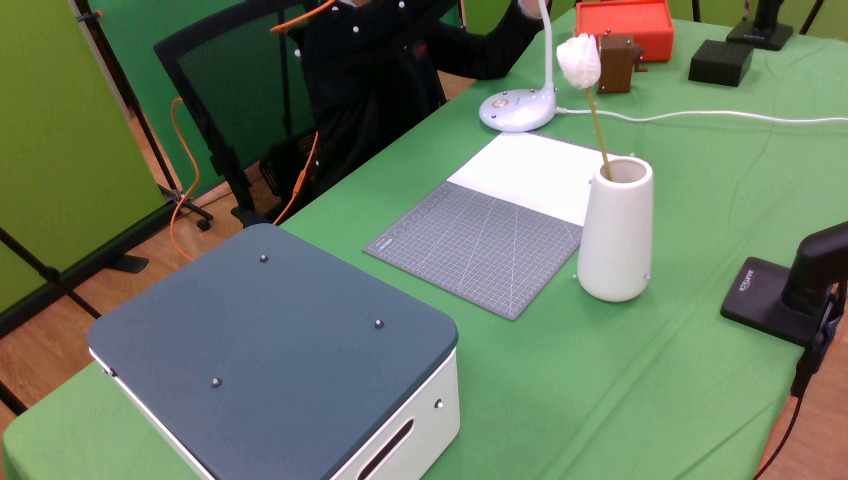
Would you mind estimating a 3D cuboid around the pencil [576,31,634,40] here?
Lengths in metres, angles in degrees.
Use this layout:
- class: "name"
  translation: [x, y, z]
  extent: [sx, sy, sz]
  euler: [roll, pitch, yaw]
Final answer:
- class: "pencil"
  translation: [0.430, -0.488, 1.444]
  extent: [0.012, 0.012, 0.192]
  euler: [-25, 30, -18]

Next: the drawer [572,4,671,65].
- class: "drawer"
  translation: [0.461, -0.490, 1.435]
  extent: [0.211, 0.073, 0.194]
  euler: [2, 40, 12]

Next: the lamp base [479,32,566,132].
- class: "lamp base"
  translation: [0.200, -0.332, 1.219]
  extent: [0.179, 0.181, 0.160]
  euler: [1, 40, 7]

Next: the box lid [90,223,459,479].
- class: "box lid"
  translation: [-0.174, 0.102, 0.666]
  extent: [0.368, 0.015, 0.264]
  euler: [24, 48, 35]

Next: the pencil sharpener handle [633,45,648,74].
- class: "pencil sharpener handle"
  translation: [0.454, -0.378, 1.262]
  extent: [0.030, 0.068, 0.036]
  euler: [1, 47, 13]

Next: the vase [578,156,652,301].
- class: "vase"
  translation: [0.261, -0.011, 0.812]
  extent: [0.098, 0.201, 0.097]
  euler: [-4, 40, 4]

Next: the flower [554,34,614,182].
- class: "flower"
  translation: [0.237, -0.083, 0.774]
  extent: [0.044, 0.363, 0.038]
  euler: [-22, 26, 6]

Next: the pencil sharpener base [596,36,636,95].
- class: "pencil sharpener base"
  translation: [0.406, -0.369, 1.280]
  extent: [0.076, 0.107, 0.061]
  euler: [1, 41, 13]

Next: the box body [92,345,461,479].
- class: "box body"
  translation: [-0.162, 0.170, 0.708]
  extent: [0.361, 0.161, 0.255]
  euler: [25, 50, 34]

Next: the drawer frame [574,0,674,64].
- class: "drawer frame"
  translation: [0.464, -0.492, 1.434]
  extent: [0.213, 0.083, 0.201]
  euler: [1, 40, 12]
